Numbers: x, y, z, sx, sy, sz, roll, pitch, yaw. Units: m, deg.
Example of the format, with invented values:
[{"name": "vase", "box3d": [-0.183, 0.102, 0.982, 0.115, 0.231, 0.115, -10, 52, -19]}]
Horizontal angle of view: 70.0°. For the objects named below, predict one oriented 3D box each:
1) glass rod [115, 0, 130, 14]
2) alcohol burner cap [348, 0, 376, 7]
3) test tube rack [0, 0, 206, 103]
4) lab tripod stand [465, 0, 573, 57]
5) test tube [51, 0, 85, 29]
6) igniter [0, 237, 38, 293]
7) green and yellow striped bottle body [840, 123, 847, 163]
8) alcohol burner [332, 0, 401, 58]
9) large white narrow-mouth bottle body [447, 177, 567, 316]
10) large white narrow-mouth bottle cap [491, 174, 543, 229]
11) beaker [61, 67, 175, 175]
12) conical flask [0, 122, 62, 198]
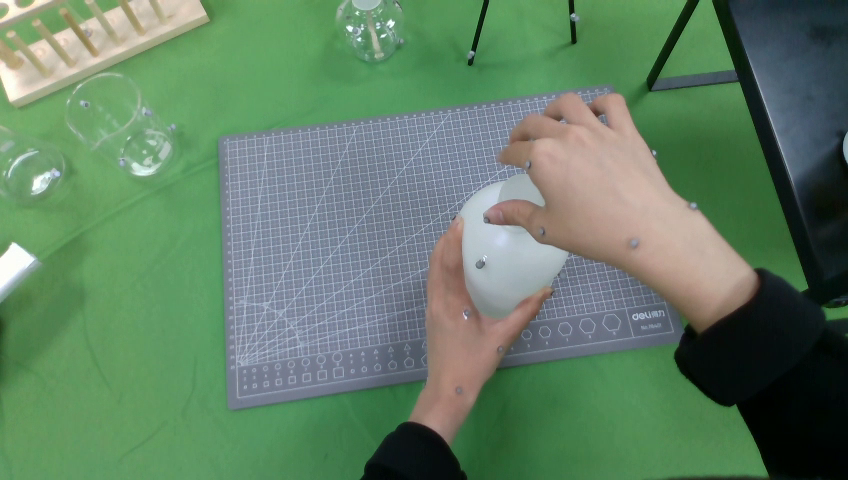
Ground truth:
[{"name": "glass rod", "box3d": [-0.368, -0.313, 0.635, 0.008, 0.201, 0.008, -3, 65, 7]}, {"name": "alcohol burner cap", "box3d": [-0.067, -0.272, 0.635, 0.034, 0.048, 0.033, 0, 69, 1]}, {"name": "test tube rack", "box3d": [-0.385, -0.254, 0.685, 0.242, 0.086, 0.066, -28, 72, -9]}, {"name": "lab tripod stand", "box3d": [0.104, -0.281, 0.663, 0.148, 0.132, 0.147, 0, 69, 0]}, {"name": "test tube", "box3d": [-0.409, -0.279, 0.642, 0.017, 0.151, 0.017, -2, 68, 5]}, {"name": "igniter", "box3d": [-0.467, 0.109, 0.543, 0.057, 0.025, 0.276, 35, 72, 10]}, {"name": "green and yellow striped bottle body", "box3d": [0.350, -0.089, 0.410, 0.063, 0.120, 0.063, 0, 70, 1]}, {"name": "alcohol burner", "box3d": [-0.065, -0.259, 0.669, 0.078, 0.120, 0.077, 0, 69, 0]}, {"name": "large white narrow-mouth bottle body", "box3d": [0.072, 0.001, 0.532, 0.102, 0.196, 0.101, 0, 72, 1]}, {"name": "large white narrow-mouth bottle cap", "box3d": [0.068, -0.028, 0.441, 0.038, 0.024, 0.037, 0, 72, 1]}, {"name": "beaker", "box3d": [-0.312, -0.116, 0.630, 0.074, 0.101, 0.083, 6, 71, 4]}, {"name": "conical flask", "box3d": [-0.436, -0.098, 0.613, 0.075, 0.122, 0.075, 0, 70, 1]}]
